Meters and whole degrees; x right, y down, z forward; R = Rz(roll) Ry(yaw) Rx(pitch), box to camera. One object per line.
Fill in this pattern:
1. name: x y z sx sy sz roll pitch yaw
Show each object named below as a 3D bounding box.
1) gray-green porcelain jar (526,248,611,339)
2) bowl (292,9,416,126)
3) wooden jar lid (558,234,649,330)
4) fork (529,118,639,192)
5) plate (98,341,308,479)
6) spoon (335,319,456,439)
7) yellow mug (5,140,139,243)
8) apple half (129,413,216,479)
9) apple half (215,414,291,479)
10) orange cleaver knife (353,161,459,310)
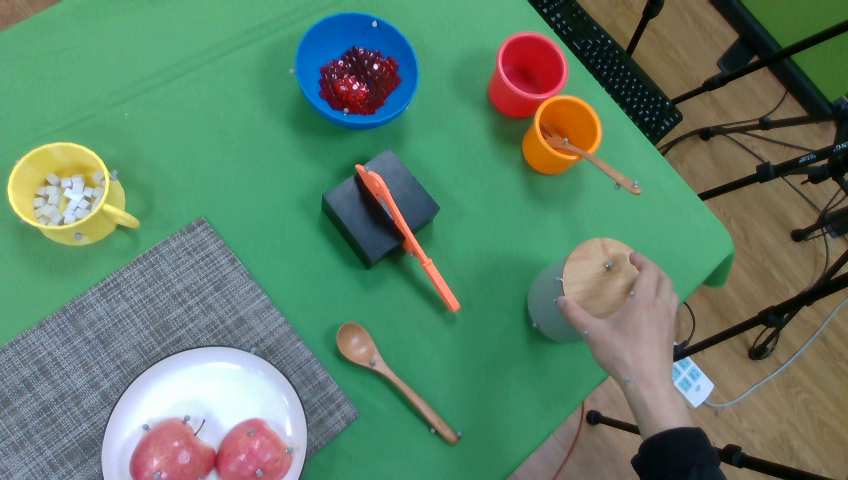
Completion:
1. gray-green porcelain jar: 0.187 0.064 0.731 0.106 0.127 0.105 3 75 -10
2. bowl: -0.090 -0.204 0.768 0.152 0.077 0.150 3 76 -11
3. wooden jar lid: 0.197 0.047 0.672 0.109 0.021 0.108 3 77 -13
4. fork: 0.198 -0.110 0.765 0.028 0.019 0.205 -21 37 -17
5. plate: -0.231 0.214 0.648 0.210 0.038 0.208 3 76 -11
6. spoon: -0.033 0.167 0.713 0.193 0.022 0.041 43 51 2
7. yellow mug: -0.381 -0.046 0.674 0.131 0.064 0.099 24 72 -6
8. apple half: -0.263 0.223 0.624 0.074 0.053 0.080 -41 87 -15
9. apple half: -0.185 0.230 0.647 0.081 0.033 0.081 3 73 -8
10. orange cleaver knife: -0.022 -0.005 0.728 0.012 0.076 0.212 -36 109 -14
